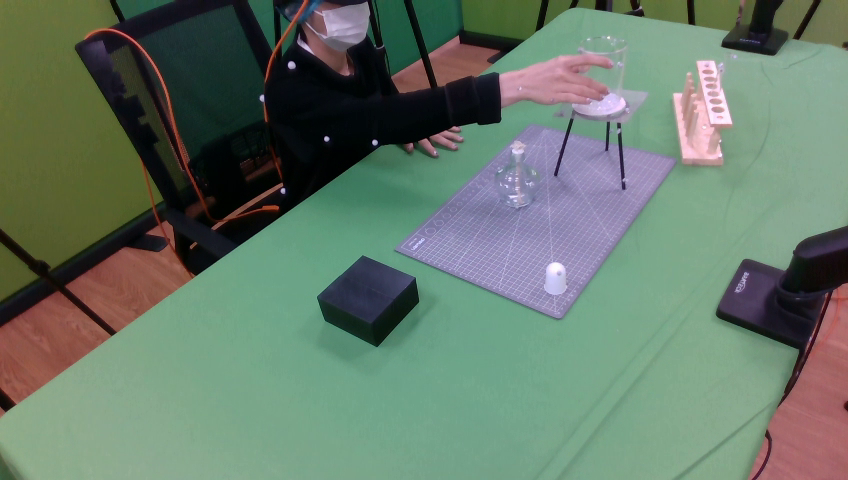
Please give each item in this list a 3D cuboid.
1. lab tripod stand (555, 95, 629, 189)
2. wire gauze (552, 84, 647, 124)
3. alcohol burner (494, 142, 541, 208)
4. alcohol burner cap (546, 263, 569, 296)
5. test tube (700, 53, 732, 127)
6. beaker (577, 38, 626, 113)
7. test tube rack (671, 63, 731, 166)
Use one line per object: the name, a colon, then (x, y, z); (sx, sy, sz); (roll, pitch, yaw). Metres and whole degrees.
lab tripod stand: (0.300, -0.174, 1.045); (0.148, 0.132, 0.147); (-5, 38, 5)
wire gauze: (0.293, -0.225, 1.003); (0.120, 0.011, 0.125); (17, 43, 27)
alcohol burner: (0.156, -0.113, 1.011); (0.078, 0.119, 0.077); (-3, 41, 3)
alcohol burner cap: (0.191, 0.053, 0.862); (0.034, 0.048, 0.033); (-5, 40, 4)
test tube: (0.521, -0.265, 1.081); (0.017, 0.151, 0.017); (-3, 47, 3)
beaker: (0.285, -0.265, 0.976); (0.073, 0.101, 0.084); (24, 48, 34)
test tube rack: (0.513, -0.241, 1.132); (0.066, 0.085, 0.242); (4, 41, 14)
